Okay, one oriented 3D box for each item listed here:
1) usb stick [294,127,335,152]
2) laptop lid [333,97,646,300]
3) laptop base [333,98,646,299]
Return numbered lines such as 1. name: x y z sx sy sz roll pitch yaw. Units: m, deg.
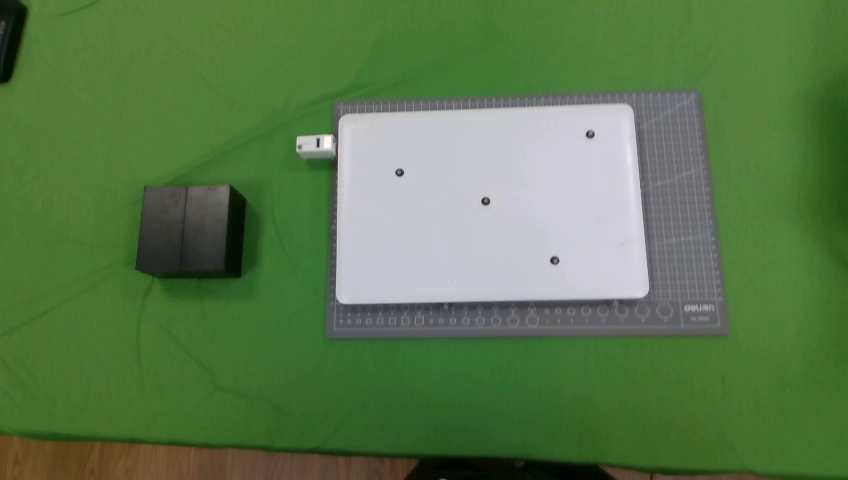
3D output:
1. usb stick: -0.124 -0.121 0.727 0.059 0.027 0.021 -1 77 4
2. laptop lid: 0.070 -0.050 0.700 0.356 0.013 0.240 0 79 3
3. laptop base: 0.071 -0.050 0.712 0.354 0.023 0.234 -2 80 3
